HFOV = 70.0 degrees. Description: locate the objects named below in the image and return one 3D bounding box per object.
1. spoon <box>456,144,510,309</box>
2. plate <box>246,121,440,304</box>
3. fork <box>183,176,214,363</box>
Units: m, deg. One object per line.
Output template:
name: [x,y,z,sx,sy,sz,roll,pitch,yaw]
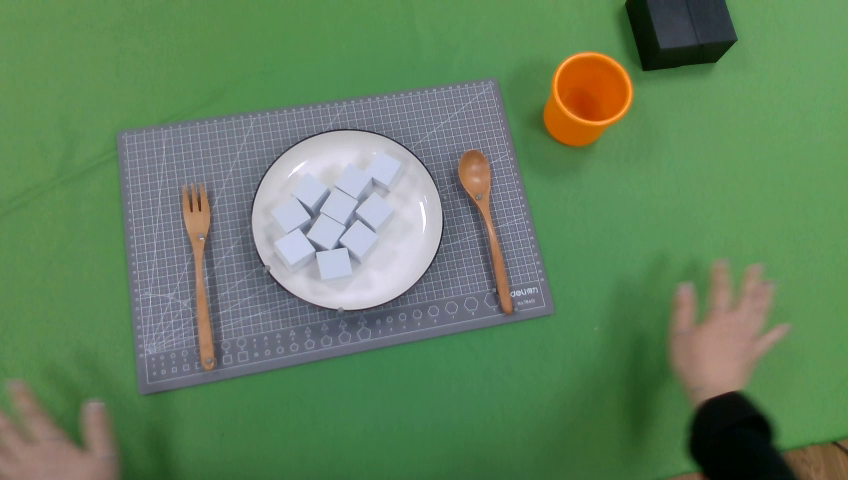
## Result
spoon: [0.071,-0.017,0.686,0.042,0.021,0.192,-6,75,-26]
plate: [-0.087,-0.029,0.670,0.208,0.039,0.206,1,76,-4]
fork: [-0.241,0.029,0.653,0.028,0.019,0.206,-7,74,-10]
